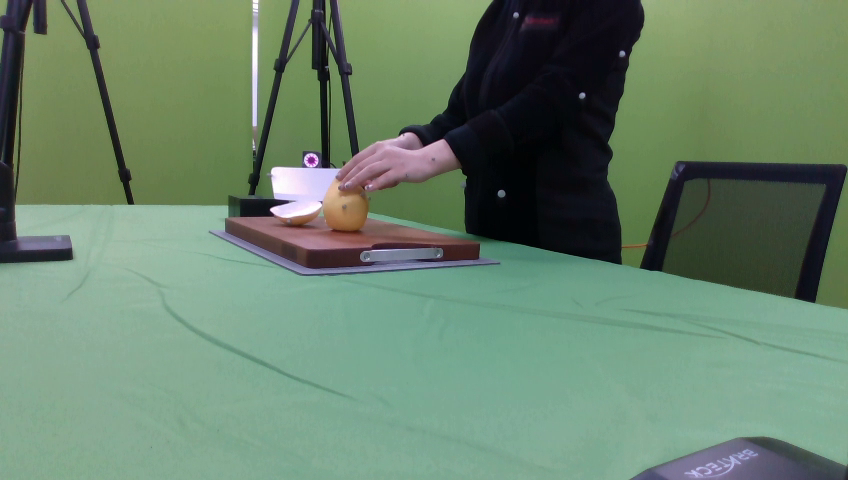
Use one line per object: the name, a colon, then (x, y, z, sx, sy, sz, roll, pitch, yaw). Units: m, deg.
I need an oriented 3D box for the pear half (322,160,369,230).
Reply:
pear half: (-0.115, -0.069, 0.935, 0.055, 0.110, 0.076, 6, 14, 32)

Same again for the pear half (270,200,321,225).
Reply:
pear half: (-0.210, -0.042, 0.995, 0.088, 0.031, 0.070, -4, 19, 20)

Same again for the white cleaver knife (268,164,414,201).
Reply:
white cleaver knife: (-0.133, -0.097, 1.032, 0.288, 0.065, 0.021, -7, -13, -38)
